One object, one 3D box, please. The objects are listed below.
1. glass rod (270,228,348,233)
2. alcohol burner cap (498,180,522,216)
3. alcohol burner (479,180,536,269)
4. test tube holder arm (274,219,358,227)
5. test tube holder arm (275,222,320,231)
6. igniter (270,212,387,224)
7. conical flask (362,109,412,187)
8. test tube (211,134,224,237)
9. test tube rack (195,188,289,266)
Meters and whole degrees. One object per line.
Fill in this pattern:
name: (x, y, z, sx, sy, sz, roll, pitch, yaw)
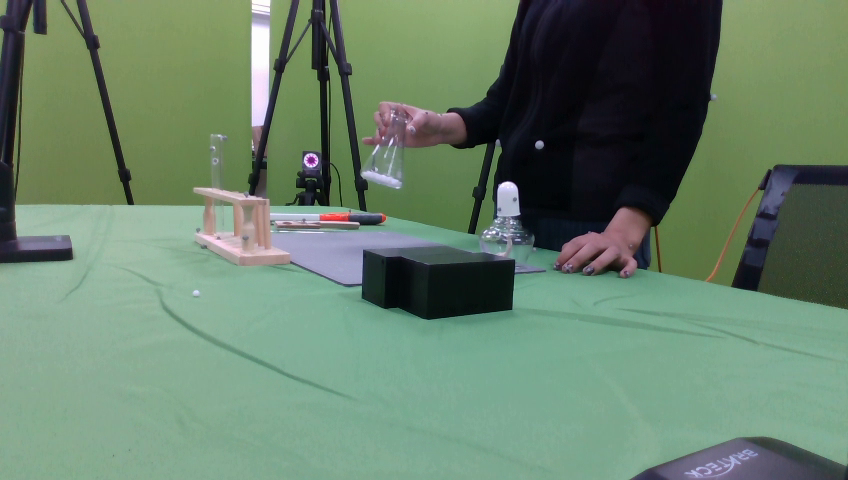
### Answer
glass rod: (-0.235, -0.017, 1.105, 0.201, 0.008, 0.008, 1, 7, -26)
alcohol burner cap: (0.114, -0.056, 0.809, 0.034, 0.048, 0.034, -5, 12, 1)
alcohol burner: (0.114, -0.021, 0.816, 0.078, 0.119, 0.078, 2, 9, 0)
test tube holder arm: (-0.206, -0.032, 1.177, 0.179, 0.015, 0.013, -4, 45, -40)
test tube holder arm: (-0.238, -0.026, 1.145, 0.088, 0.015, 0.010, -3, 45, -39)
igniter: (-0.213, -0.048, 1.278, 0.278, 0.025, 0.057, -1, -2, -25)
conical flask: (-0.053, -0.153, 1.004, 0.075, 0.122, 0.075, 16, 4, -1)
test tube: (-0.300, -0.078, 0.881, 0.017, 0.150, 0.017, 3, 12, 0)
test tube rack: (-0.266, -0.025, 0.864, 0.067, 0.085, 0.241, -2, 9, -33)
